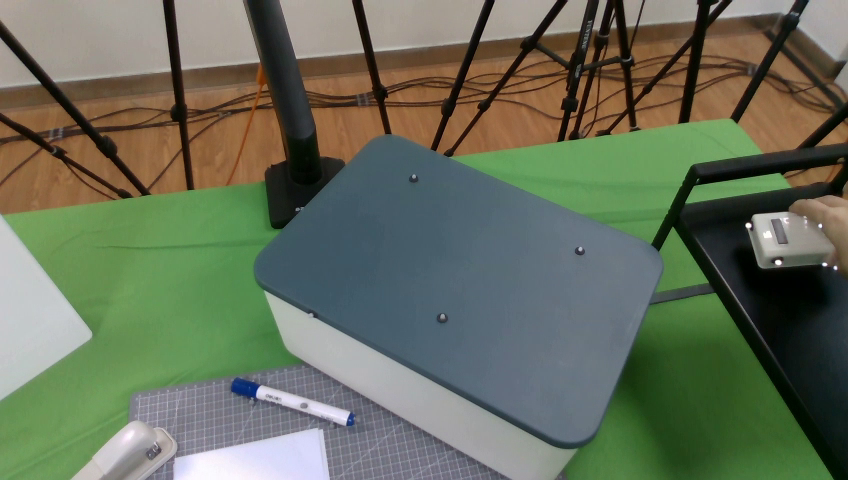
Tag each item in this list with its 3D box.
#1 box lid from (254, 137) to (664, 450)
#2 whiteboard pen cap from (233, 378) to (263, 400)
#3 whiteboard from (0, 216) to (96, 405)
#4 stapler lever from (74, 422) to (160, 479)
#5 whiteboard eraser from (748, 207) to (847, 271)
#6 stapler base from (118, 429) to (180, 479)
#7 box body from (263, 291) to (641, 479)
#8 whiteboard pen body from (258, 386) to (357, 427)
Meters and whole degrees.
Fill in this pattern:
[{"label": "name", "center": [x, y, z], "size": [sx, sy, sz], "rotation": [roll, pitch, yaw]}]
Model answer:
[{"label": "box lid", "center": [0.039, 0.026, 0.627], "size": [0.369, 0.015, 0.262], "rotation": [25, 53, 16]}, {"label": "whiteboard pen cap", "center": [-0.197, 0.169, 0.684], "size": [0.033, 0.018, 0.018], "rotation": [14, 51, 11]}, {"label": "whiteboard", "center": [-0.545, 0.040, 0.629], "size": [0.142, 0.308, 0.217], "rotation": [23, 51, 40]}, {"label": "stapler lever", "center": [-0.316, 0.228, 0.595], "size": [0.026, 0.040, 0.118], "rotation": [34, 60, 28]}, {"label": "whiteboard eraser", "center": [0.385, 0.000, 0.594], "size": [0.112, 0.042, 0.055], "rotation": [-5, 57, 11]}, {"label": "stapler base", "center": [-0.315, 0.243, 0.615], "size": [0.041, 0.024, 0.130], "rotation": [34, 60, 28]}, {"label": "box body", "center": [0.038, 0.074, 0.684], "size": [0.362, 0.162, 0.253], "rotation": [25, 53, 17]}, {"label": "whiteboard pen body", "center": [-0.141, 0.182, 0.673], "size": [0.140, 0.017, 0.017], "rotation": [14, 51, 11]}]
